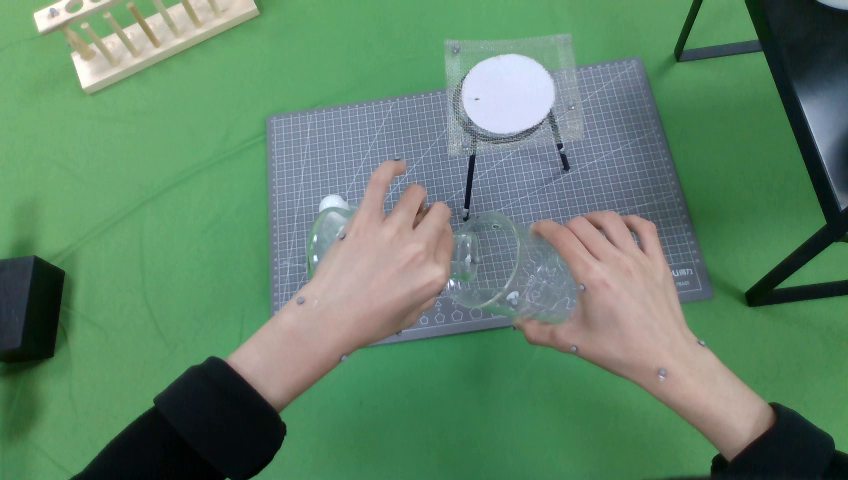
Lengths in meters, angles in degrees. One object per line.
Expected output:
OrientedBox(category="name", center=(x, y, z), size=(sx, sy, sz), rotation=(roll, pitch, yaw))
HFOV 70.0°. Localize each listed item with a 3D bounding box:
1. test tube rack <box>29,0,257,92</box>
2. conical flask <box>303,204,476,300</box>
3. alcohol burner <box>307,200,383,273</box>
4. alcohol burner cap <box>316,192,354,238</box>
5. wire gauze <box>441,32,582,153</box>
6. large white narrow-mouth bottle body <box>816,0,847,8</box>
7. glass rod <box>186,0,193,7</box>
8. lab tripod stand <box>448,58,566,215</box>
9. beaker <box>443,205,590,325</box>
OrientedBox(category="test tube rack", center=(-0.345, -0.285, 0.759), size=(0.242, 0.086, 0.066), rotation=(-27, 68, -5))
OrientedBox(category="conical flask", center=(-0.023, 0.010, 0.461), size=(0.121, 0.076, 0.075), rotation=(1, 68, 14))
OrientedBox(category="alcohol burner", center=(-0.082, -0.011, 0.606), size=(0.078, 0.120, 0.077), rotation=(-1, 67, 4))
OrientedBox(category="alcohol burner cap", center=(-0.086, -0.027, 0.573), size=(0.034, 0.048, 0.033), rotation=(-1, 61, 3))
OrientedBox(category="wire gauze", center=(0.078, -0.139, 0.555), size=(0.121, 0.011, 0.124), rotation=(-3, 69, 3))
OrientedBox(category="large white narrow-mouth bottle body", center=(0.348, -0.269, 0.428), size=(0.102, 0.196, 0.101), rotation=(-2, 66, 5))
OrientedBox(category="glass rod", center=(-0.309, -0.349, 0.708), size=(0.008, 0.201, 0.008), rotation=(0, 66, 1))
OrientedBox(category="lab tripod stand", center=(0.078, -0.109, 0.617), size=(0.148, 0.132, 0.147), rotation=(-2, 67, 4))
OrientedBox(category="beaker", center=(0.074, 0.026, 0.476), size=(0.084, 0.101, 0.073), rotation=(-44, 45, 29))
